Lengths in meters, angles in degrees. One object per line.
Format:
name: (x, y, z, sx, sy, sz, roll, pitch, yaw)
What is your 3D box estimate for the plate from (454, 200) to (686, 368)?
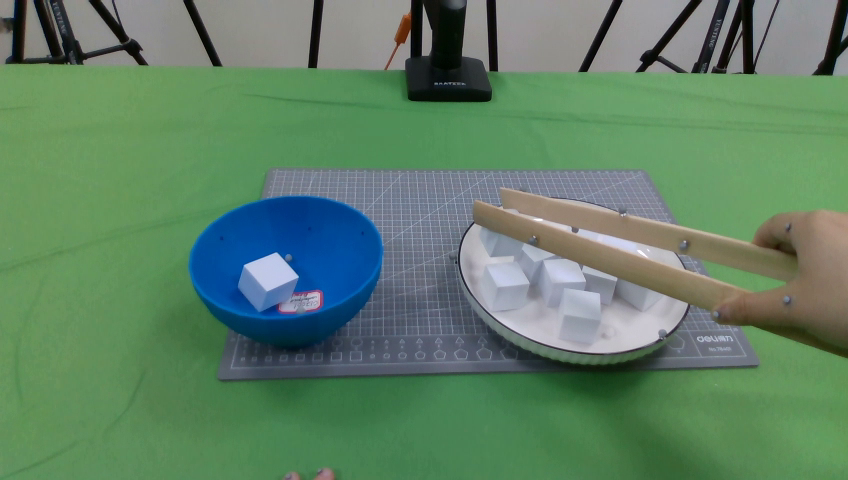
plate: (0.130, 0.038, 0.555, 0.208, 0.039, 0.205, 2, 40, -2)

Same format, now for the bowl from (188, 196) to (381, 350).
bowl: (-0.110, 0.038, 0.504, 0.151, 0.077, 0.150, 2, 40, -2)

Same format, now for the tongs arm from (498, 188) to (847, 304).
tongs arm: (0.204, 0.019, 0.430, 0.381, 0.027, 0.050, 17, 40, 35)

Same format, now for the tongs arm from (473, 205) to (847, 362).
tongs arm: (0.187, 0.031, 0.416, 0.384, 0.028, 0.028, 20, 39, 38)
